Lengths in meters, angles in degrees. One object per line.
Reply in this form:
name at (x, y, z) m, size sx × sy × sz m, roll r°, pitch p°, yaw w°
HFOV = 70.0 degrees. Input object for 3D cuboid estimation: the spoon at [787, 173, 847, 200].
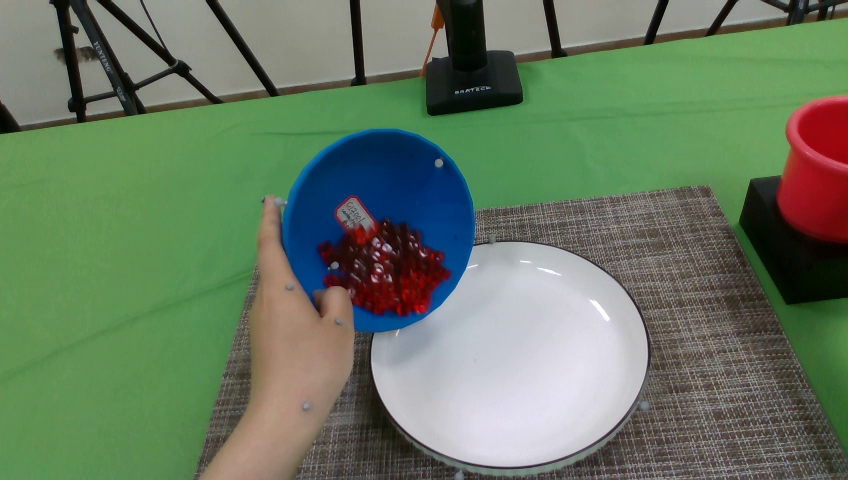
spoon at (0.312, -0.050, 0.397) m, size 0.041 × 0.194 × 0.021 m, roll -25°, pitch 85°, yaw -6°

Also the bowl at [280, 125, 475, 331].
bowl at (-0.045, -0.012, 0.468) m, size 0.151 × 0.152 × 0.076 m, roll -31°, pitch 22°, yaw -20°

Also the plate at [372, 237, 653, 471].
plate at (0.065, 0.082, 0.467) m, size 0.207 × 0.039 × 0.205 m, roll -6°, pitch 44°, yaw 6°
